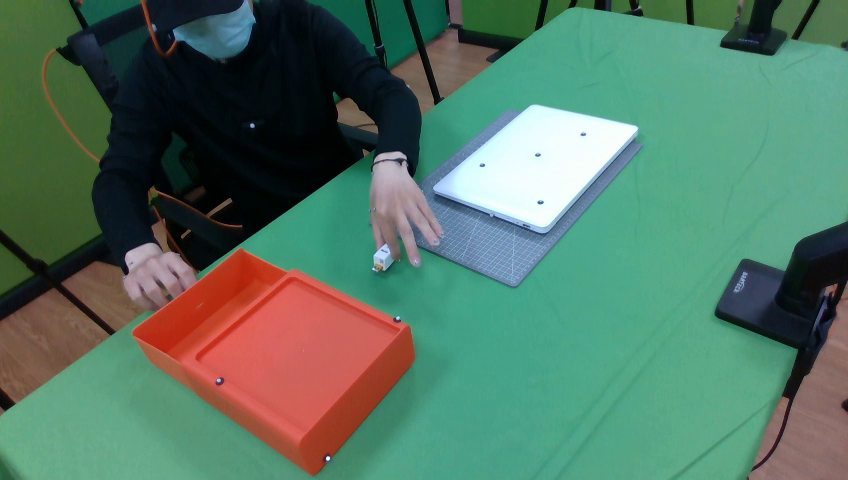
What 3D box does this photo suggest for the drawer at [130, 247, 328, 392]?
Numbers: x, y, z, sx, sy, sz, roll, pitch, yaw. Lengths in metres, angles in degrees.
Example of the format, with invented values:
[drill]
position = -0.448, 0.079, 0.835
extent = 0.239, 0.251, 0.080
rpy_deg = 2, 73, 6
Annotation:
[drawer]
position = -0.245, 0.120, 0.821
extent = 0.210, 0.073, 0.195
rpy_deg = 21, 47, 29

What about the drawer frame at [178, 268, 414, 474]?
[drawer frame]
position = -0.157, 0.152, 0.769
extent = 0.212, 0.083, 0.202
rpy_deg = 22, 47, 29

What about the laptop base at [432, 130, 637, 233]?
[laptop base]
position = 0.210, -0.142, 1.111
extent = 0.233, 0.023, 0.355
rpy_deg = 21, 47, 34

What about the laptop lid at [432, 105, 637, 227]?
[laptop lid]
position = 0.207, -0.152, 1.104
extent = 0.239, 0.013, 0.358
rpy_deg = 23, 49, 34

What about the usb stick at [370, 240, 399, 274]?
[usb stick]
position = -0.063, 0.028, 0.932
extent = 0.021, 0.027, 0.059
rpy_deg = 21, 48, 22
